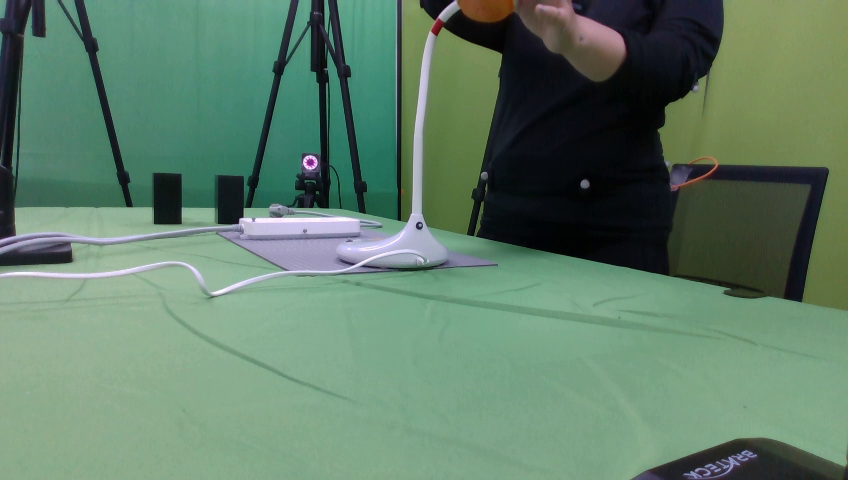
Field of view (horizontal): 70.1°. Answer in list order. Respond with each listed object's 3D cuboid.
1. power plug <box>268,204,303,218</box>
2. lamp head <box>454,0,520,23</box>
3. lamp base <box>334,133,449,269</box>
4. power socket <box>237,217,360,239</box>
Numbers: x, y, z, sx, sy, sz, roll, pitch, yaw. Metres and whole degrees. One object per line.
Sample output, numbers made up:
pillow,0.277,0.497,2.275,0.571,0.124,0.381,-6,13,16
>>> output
power plug,-0.327,-0.060,1.404,0.073,0.035,0.052,22,-14,-26
lamp head,0.073,-0.319,0.706,0.112,0.122,0.112,8,-3,1
lamp base,-0.034,-0.057,0.831,0.161,0.180,0.178,-2,12,-36
power socket,-0.221,-0.023,1.080,0.228,0.032,0.072,-2,8,-32
